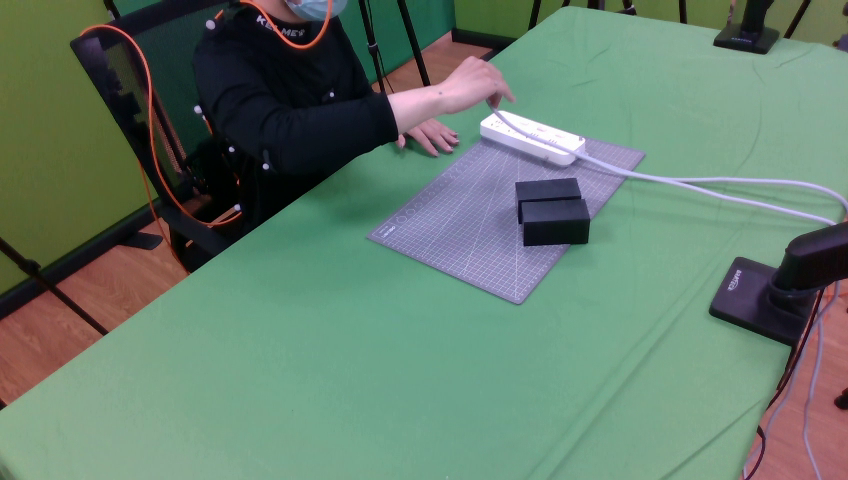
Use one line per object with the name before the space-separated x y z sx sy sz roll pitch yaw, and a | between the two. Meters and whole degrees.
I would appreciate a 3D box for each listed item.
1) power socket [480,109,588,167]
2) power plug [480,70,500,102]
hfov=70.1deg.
power socket | 0.203 -0.198 1.157 0.225 0.033 0.072 29 54 34
power plug | 0.110 -0.268 1.072 0.035 0.053 0.072 17 79 26
